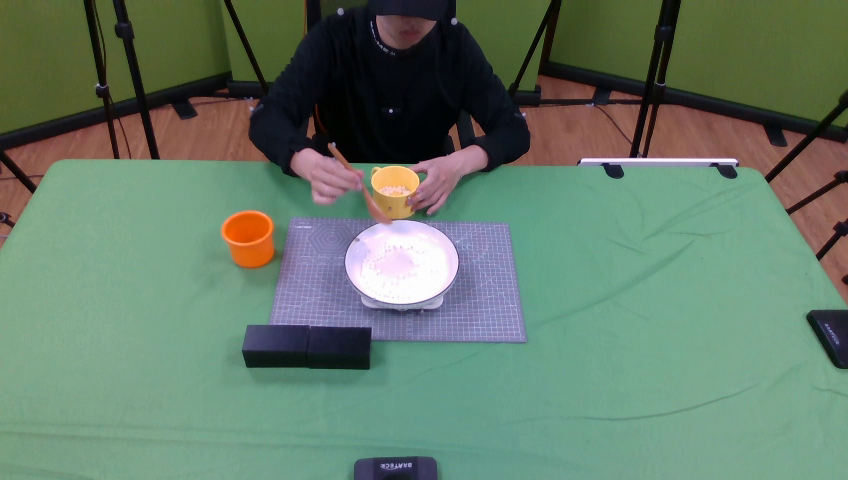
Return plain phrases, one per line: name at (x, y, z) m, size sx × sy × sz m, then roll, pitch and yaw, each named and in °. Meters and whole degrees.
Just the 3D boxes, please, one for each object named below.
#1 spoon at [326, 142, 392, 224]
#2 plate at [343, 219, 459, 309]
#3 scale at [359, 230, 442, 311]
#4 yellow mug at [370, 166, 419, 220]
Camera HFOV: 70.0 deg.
spoon at (-0.113, -0.096, 1.059) m, size 0.041 × 0.195 × 0.021 m, roll 9°, pitch 49°, yaw 49°
plate at (-0.041, 0.046, 1.094) m, size 0.209 × 0.038 × 0.208 m, roll 2°, pitch 46°, yaw -2°
scale at (-0.043, 0.048, 1.138) m, size 0.149 × 0.032 × 0.199 m, roll 2°, pitch 46°, yaw -3°
yellow mug at (-0.072, -0.108, 1.267) m, size 0.100 × 0.064 × 0.130 m, roll -30°, pitch 54°, yaw -30°
